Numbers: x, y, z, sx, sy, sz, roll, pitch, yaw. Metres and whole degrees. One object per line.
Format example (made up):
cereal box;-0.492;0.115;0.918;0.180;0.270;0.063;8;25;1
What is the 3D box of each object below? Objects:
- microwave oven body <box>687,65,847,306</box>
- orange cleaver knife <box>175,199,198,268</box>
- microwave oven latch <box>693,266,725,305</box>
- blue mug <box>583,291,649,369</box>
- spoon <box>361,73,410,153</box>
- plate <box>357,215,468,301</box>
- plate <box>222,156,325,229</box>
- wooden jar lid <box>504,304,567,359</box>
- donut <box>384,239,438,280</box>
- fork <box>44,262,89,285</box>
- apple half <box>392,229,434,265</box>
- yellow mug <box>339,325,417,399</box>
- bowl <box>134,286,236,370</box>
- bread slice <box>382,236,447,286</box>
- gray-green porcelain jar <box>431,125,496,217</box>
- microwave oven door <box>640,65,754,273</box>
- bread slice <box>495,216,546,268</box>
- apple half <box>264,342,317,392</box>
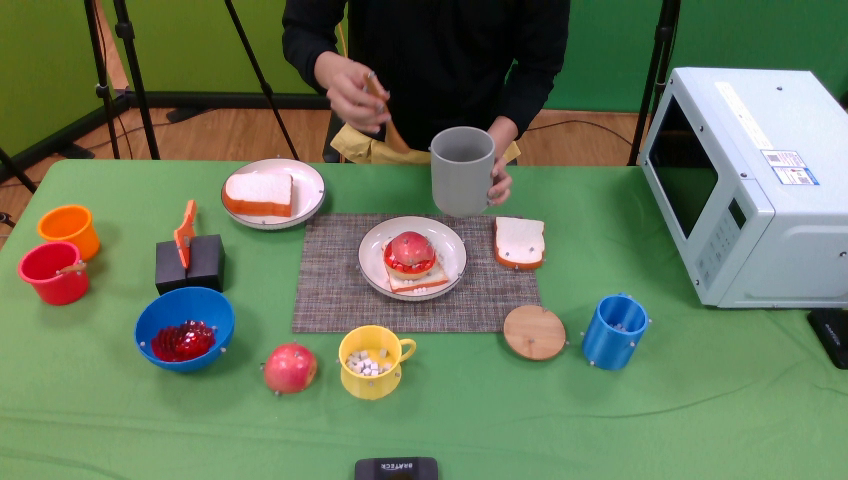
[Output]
microwave oven body;0.669;-0.111;1.176;0.326;0.261;0.439;0;46;-3
orange cleaver knife;-0.438;-0.017;1.138;0.012;0.077;0.210;-13;27;-7
microwave oven latch;0.523;0.081;1.115;0.030;0.029;0.078;3;46;0
blue mug;0.324;0.142;1.023;0.082;0.106;0.116;15;47;11
spoon;-0.059;-0.183;0.895;0.041;0.195;0.021;18;68;22
plate;-0.022;0.037;1.141;0.208;0.039;0.206;2;46;-2
plate;-0.308;-0.095;1.251;0.209;0.038;0.208;2;47;-2
wooden jar lid;0.192;0.161;1.052;0.108;0.021;0.107;2;50;-3
donut;-0.025;0.029;1.109;0.099;0.048;0.098;2;46;-2
fork;-0.598;0.054;1.014;0.207;0.019;0.028;-15;29;45
apple half;-0.020;0.005;1.083;0.081;0.033;0.081;6;48;-7
yellow mug;-0.072;0.190;0.978;0.131;0.064;0.099;-17;50;-20
bowl;-0.377;0.155;0.981;0.151;0.077;0.150;2;46;-2
bread slice;-0.025;0.045;1.148;0.107;0.018;0.133;-15;57;-13
gray-green porcelain jar;0.066;-0.111;1.016;0.106;0.127;0.105;-1;45;2
microwave oven door;0.523;-0.147;1.193;0.039;0.245;0.353;0;47;-3
bread slice;0.194;0.001;1.204;0.105;0.019;0.131;6;46;2
apple half;-0.214;0.198;0.970;0.074;0.053;0.080;19;48;10
